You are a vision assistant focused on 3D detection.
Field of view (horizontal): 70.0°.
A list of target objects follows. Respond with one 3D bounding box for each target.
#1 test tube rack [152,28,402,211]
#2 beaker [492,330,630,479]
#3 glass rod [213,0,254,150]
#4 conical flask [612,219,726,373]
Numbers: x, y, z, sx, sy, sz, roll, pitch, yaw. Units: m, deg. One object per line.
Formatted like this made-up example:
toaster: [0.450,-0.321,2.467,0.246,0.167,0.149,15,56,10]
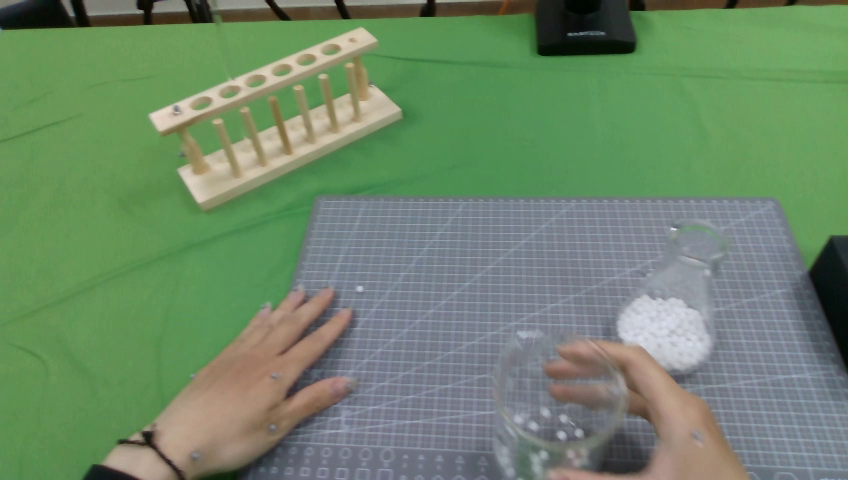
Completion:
test tube rack: [-0.146,-0.132,0.645,0.242,0.086,0.066,-29,53,-18]
beaker: [0.078,0.113,0.380,0.074,0.101,0.083,-25,51,-16]
glass rod: [-0.190,-0.174,0.599,0.008,0.201,0.008,0,43,0]
conical flask: [0.184,0.038,0.442,0.075,0.123,0.074,-3,50,4]
